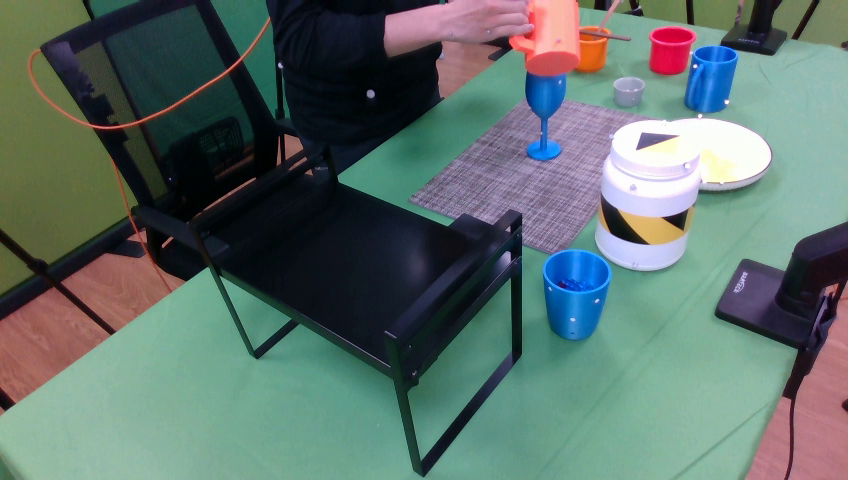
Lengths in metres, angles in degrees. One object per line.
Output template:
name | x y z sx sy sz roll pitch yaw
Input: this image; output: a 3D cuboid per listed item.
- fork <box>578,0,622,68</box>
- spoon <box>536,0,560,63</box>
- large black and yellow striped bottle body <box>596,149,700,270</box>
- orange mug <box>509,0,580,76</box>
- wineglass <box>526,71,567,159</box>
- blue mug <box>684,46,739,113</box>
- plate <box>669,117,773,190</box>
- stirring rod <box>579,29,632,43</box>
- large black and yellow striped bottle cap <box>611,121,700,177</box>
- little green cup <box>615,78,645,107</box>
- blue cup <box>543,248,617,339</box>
fork | 0.409 -0.484 1.381 0.028 0.019 0.207 37 101 46
spoon | 0.190 -0.383 0.972 0.021 0.194 0.042 -16 7 22
large black and yellow striped bottle body | 0.323 -0.062 0.877 0.131 0.185 0.130 -5 40 4
orange mug | 0.189 -0.328 0.959 0.127 0.083 0.100 10 77 -28
wineglass | 0.221 -0.237 1.097 0.074 0.173 0.073 -4 41 4
blue mug | 0.556 -0.310 1.190 0.117 0.106 0.081 -32 46 -25
plate | 0.495 -0.149 1.063 0.209 0.038 0.208 -5 40 4
stirring rod | 0.381 -0.462 1.356 0.175 0.006 0.014 23 48 30
large black and yellow striped bottle cap | 0.315 -0.126 0.823 0.115 0.019 0.114 -4 42 4
little green cup | 0.426 -0.306 1.257 0.061 0.039 0.061 -4 40 4
blue cup | 0.199 0.076 0.797 0.092 0.100 0.092 -4 39 4
